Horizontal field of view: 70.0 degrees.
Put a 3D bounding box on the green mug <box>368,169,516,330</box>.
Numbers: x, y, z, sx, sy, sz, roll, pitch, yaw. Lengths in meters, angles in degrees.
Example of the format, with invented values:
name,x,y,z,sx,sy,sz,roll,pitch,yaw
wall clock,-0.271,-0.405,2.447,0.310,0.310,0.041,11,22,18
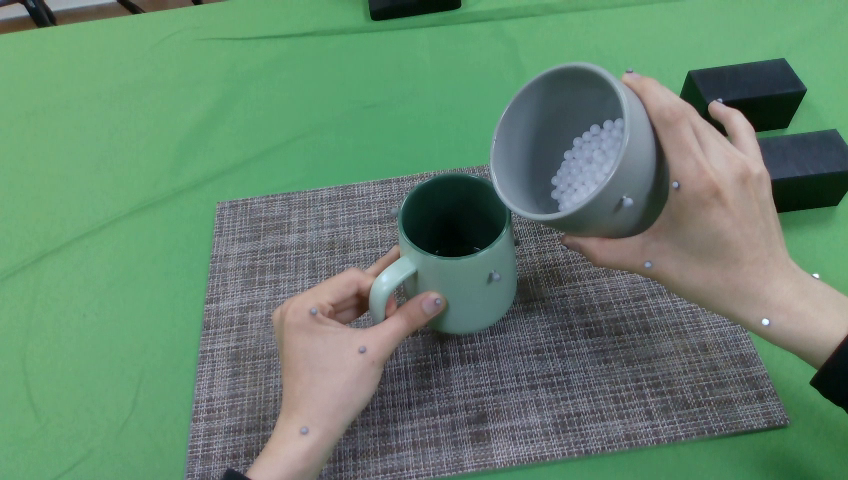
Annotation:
name,x,y,z,sx,sy,sz,roll,pitch,yaw
green mug,0.011,0.019,0.453,0.125,0.106,0.091,-37,60,-19

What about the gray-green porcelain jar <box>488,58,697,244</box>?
name,x,y,z,sx,sy,sz,roll,pitch,yaw
gray-green porcelain jar,0.124,-0.055,0.431,0.105,0.127,0.105,-13,71,42
